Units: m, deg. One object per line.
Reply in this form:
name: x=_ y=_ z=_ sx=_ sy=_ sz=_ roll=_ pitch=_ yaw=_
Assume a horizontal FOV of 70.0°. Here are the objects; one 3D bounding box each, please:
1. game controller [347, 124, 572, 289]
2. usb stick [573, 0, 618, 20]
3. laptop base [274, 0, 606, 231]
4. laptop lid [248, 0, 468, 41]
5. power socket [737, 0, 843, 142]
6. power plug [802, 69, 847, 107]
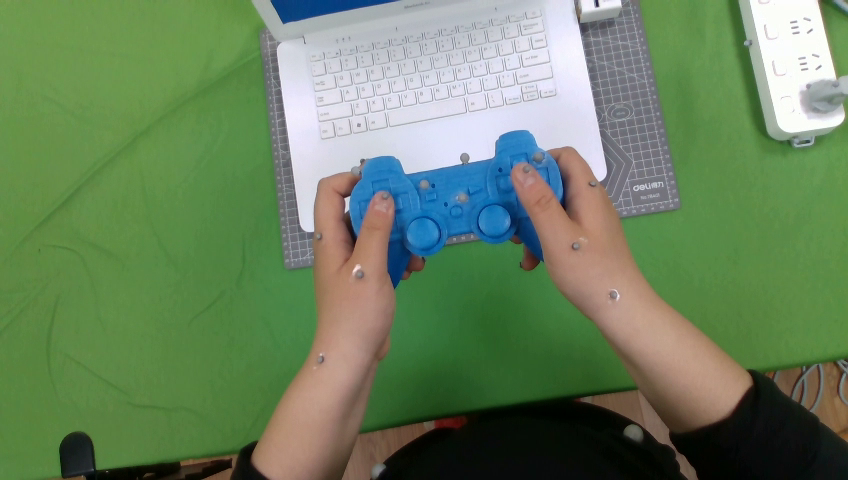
game controller: x=0.022 y=-0.022 z=0.418 sx=0.155 sy=0.051 sz=0.097 roll=-10 pitch=94 yaw=4
usb stick: x=0.187 y=-0.266 z=0.685 sx=0.059 sy=0.027 sz=0.021 roll=-10 pitch=82 yaw=9
laptop base: x=0.011 y=-0.154 z=0.701 sx=0.354 sy=0.023 sz=0.235 roll=-10 pitch=84 yaw=4
laptop lid: x=-0.024 y=-0.303 z=0.605 sx=0.356 sy=0.243 sz=0.013 roll=-11 pitch=72 yaw=6
power socket: x=0.394 y=-0.221 z=0.662 sx=0.072 sy=0.033 sz=0.226 roll=-8 pitch=81 yaw=6
power plug: x=0.432 y=-0.155 z=0.629 sx=0.072 sy=0.053 sz=0.035 roll=4 pitch=82 yaw=3
